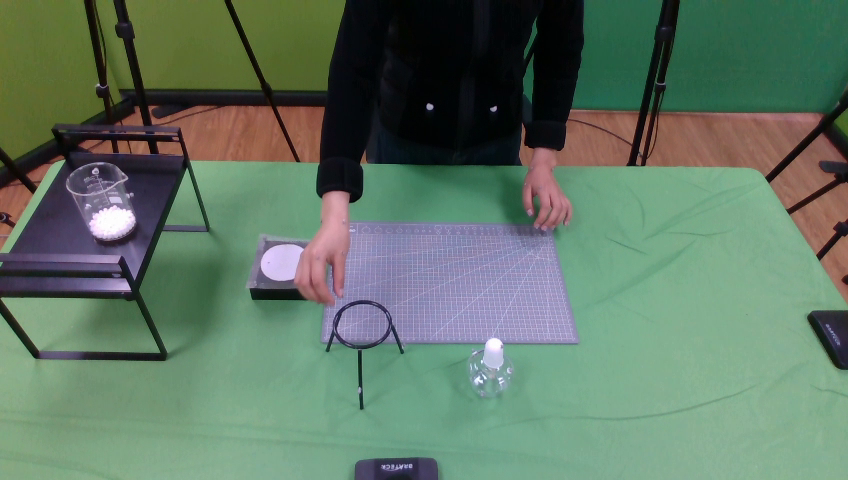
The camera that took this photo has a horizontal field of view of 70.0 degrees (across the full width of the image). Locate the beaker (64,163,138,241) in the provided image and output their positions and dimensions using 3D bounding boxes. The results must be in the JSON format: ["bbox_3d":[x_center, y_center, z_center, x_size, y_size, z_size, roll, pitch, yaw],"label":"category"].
[{"bbox_3d":[-0.478,-0.055,0.910,0.084,0.101,0.073,-9,48,-13],"label":"beaker"}]

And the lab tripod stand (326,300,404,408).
[{"bbox_3d":[-0.099,0.167,0.950,0.148,0.132,0.147,0,47,0],"label":"lab tripod stand"}]

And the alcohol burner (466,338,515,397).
[{"bbox_3d":[0.106,0.195,0.952,0.078,0.120,0.077,1,45,0],"label":"alcohol burner"}]

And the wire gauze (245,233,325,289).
[{"bbox_3d":[-0.245,0.038,1.082,0.121,0.011,0.124,5,47,-3],"label":"wire gauze"}]

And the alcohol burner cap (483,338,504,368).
[{"bbox_3d":[0.108,0.170,0.928,0.034,0.048,0.033,0,41,1],"label":"alcohol burner cap"}]
